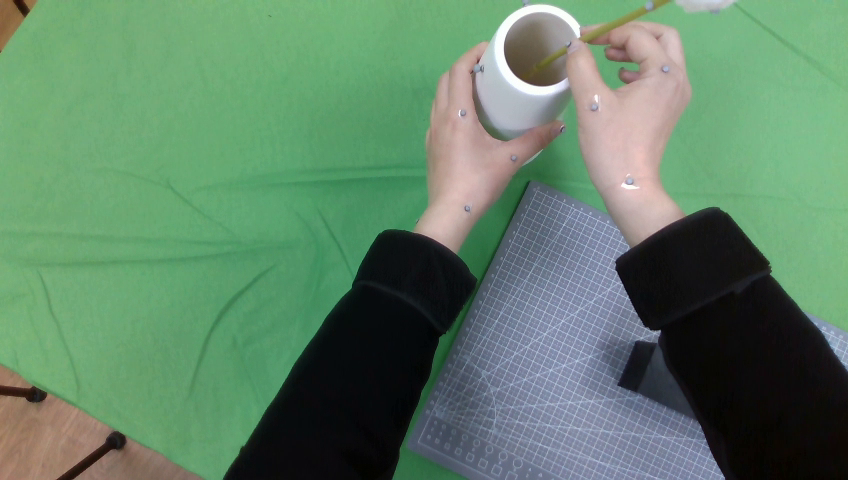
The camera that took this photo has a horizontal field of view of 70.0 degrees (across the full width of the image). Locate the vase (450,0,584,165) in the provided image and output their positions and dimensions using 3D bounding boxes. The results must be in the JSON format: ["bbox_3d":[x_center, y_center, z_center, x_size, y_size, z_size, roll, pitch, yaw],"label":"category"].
[{"bbox_3d":[0.079,-0.131,0.534,0.098,0.200,0.098,0,84,-4],"label":"vase"}]

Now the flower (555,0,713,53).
[{"bbox_3d":[0.102,-0.143,0.451,0.044,0.360,0.038,-45,103,-17],"label":"flower"}]
